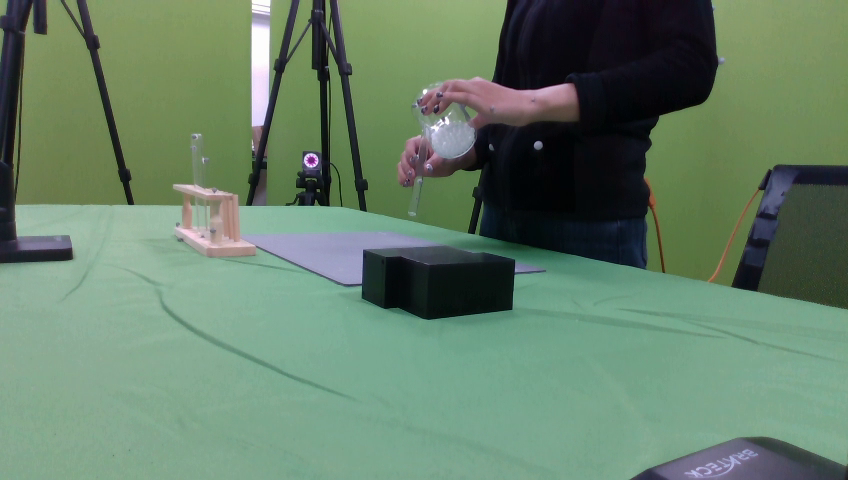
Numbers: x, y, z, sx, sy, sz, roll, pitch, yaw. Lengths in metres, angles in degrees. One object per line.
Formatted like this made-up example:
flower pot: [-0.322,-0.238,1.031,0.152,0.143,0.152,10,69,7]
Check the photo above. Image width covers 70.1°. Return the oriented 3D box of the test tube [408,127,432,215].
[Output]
test tube: [-0.008,-0.109,0.976,0.017,0.150,0.017,9,25,-4]

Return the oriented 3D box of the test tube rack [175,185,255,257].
test tube rack: [-0.324,-0.035,0.922,0.067,0.085,0.241,-2,9,-31]

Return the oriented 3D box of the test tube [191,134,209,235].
test tube: [-0.332,-0.082,0.898,0.017,0.150,0.017,-2,6,0]

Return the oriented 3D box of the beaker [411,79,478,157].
beaker: [0.030,-0.175,0.888,0.074,0.084,0.100,-4,45,-22]
